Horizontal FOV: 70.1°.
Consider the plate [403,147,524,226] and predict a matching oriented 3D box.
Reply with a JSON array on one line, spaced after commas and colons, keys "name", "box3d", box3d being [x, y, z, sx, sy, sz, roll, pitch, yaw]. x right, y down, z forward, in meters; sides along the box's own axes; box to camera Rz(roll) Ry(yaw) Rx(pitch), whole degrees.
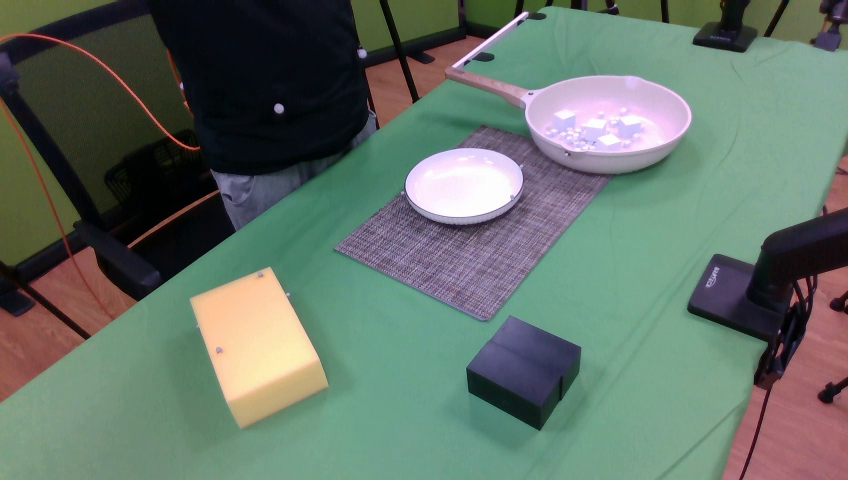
[{"name": "plate", "box3d": [0.069, -0.089, 1.044, 0.207, 0.039, 0.206, -4, 40, 4]}]

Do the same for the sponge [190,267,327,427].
[{"name": "sponge", "box3d": [-0.226, 0.135, 0.814, 0.119, 0.061, 0.205, -23, 43, -19]}]

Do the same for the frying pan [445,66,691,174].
[{"name": "frying pan", "box3d": [0.250, -0.258, 1.165, 0.485, 0.103, 0.307, 27, 48, 22]}]
